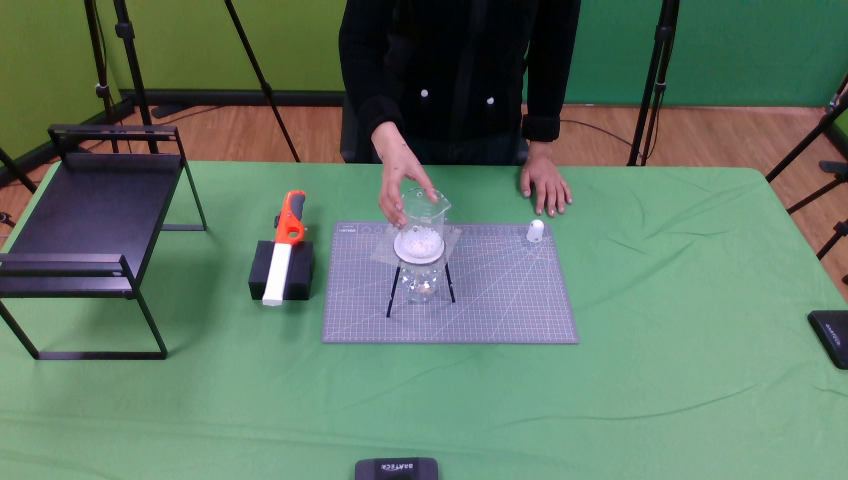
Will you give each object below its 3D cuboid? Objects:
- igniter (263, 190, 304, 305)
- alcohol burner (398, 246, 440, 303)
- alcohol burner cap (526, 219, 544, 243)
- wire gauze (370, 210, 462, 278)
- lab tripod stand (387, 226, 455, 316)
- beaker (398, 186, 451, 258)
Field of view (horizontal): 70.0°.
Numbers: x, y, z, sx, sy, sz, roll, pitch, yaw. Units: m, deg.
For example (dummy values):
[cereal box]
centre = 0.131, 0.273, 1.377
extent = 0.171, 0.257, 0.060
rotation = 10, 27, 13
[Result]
[igniter]
centre = -0.255, 0.004, 1.107
extent = 0.057, 0.025, 0.275
rotation = 6, 47, -7
[alcohol burner]
centre = -0.008, 0.056, 1.077
extent = 0.078, 0.119, 0.077
rotation = 3, 44, -3
[alcohol burner cap]
centre = 0.225, -0.021, 1.219
extent = 0.034, 0.048, 0.033
rotation = 1, 46, -1
[wire gauze]
centre = -0.012, 0.007, 1.019
extent = 0.121, 0.011, 0.124
rotation = 16, 51, 13
[lab tripod stand]
centre = -0.013, 0.054, 1.064
extent = 0.148, 0.132, 0.147
rotation = 2, 48, -2
[beaker]
centre = -0.001, -0.026, 0.984
extent = 0.084, 0.101, 0.073
rotation = 1, 47, -2
